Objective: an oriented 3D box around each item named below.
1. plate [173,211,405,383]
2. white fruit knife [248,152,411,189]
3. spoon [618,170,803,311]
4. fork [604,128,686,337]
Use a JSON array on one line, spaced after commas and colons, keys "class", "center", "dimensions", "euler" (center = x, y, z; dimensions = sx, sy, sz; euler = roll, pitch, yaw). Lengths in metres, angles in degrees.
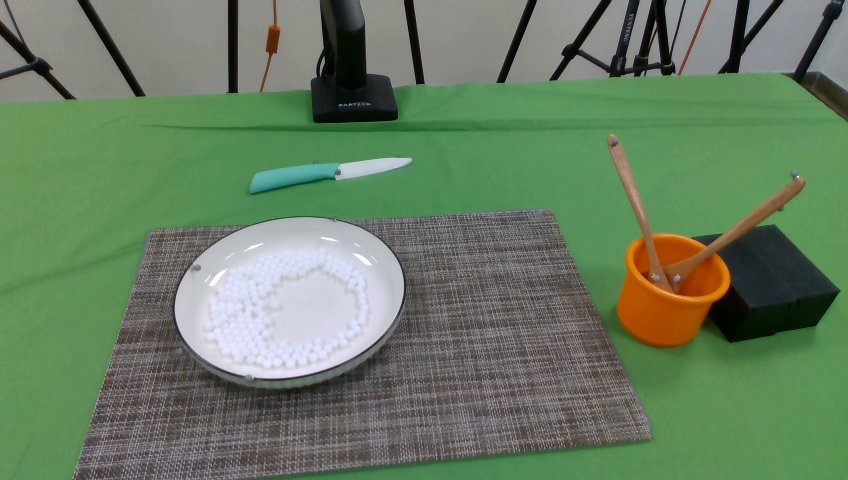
[{"class": "plate", "center": [-0.121, 0.051, 0.568], "dimensions": [0.209, 0.038, 0.207], "euler": [2, 42, -1]}, {"class": "white fruit knife", "center": [-0.114, -0.091, 0.753], "dimensions": [0.208, 0.016, 0.027], "euler": [-11, 72, -18]}, {"class": "spoon", "center": [0.264, 0.002, 0.563], "dimensions": [0.041, 0.194, 0.022], "euler": [53, 22, 9]}, {"class": "fork", "center": [0.207, -0.009, 0.576], "dimensions": [0.028, 0.018, 0.207], "euler": [-17, 89, -6]}]
